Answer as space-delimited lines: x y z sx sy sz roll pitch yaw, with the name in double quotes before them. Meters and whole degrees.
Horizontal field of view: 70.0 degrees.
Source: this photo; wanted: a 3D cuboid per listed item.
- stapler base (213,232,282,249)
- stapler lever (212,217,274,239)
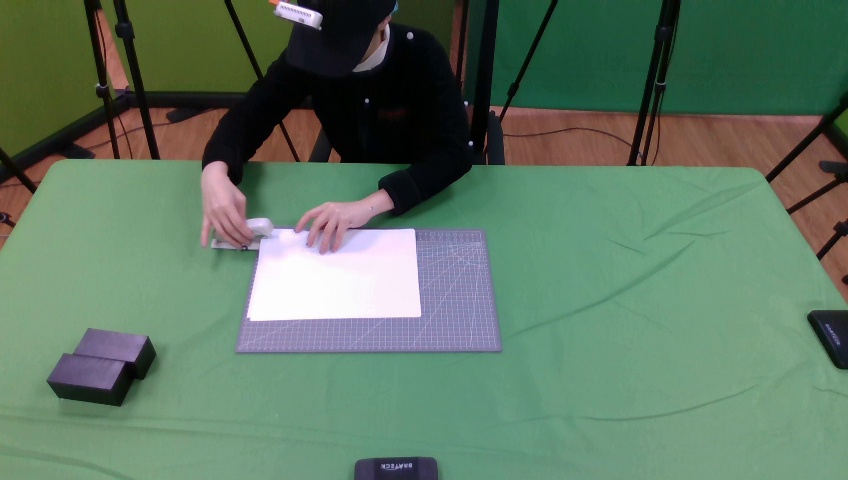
"stapler base" -0.342 -0.005 1.169 0.130 0.024 0.041 0 43 3
"stapler lever" -0.344 -0.023 1.151 0.118 0.040 0.026 1 43 3
